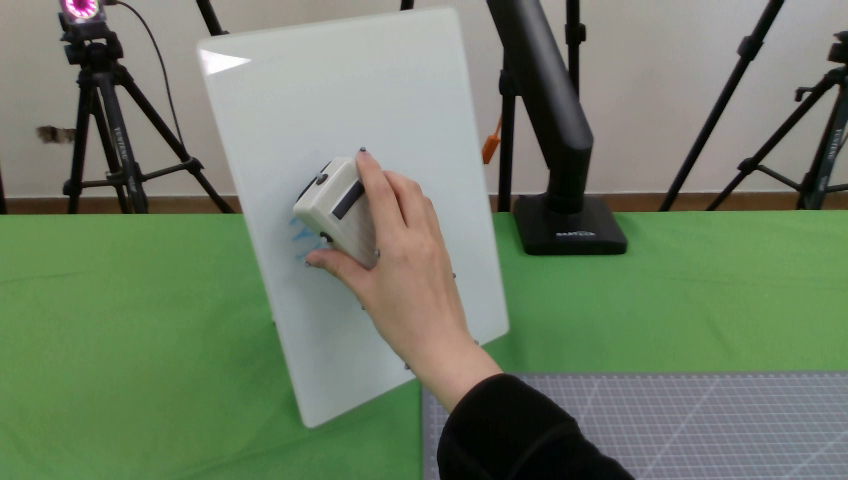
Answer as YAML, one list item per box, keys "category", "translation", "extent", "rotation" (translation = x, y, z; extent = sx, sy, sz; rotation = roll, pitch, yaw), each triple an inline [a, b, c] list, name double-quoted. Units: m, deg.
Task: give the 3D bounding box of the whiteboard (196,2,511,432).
- category: "whiteboard"
  translation: [-0.067, -0.032, 0.548]
  extent: [0.218, 0.307, 0.142]
  rotation: [-20, 19, -27]

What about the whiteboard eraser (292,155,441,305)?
- category: "whiteboard eraser"
  translation: [-0.041, -0.005, 0.445]
  extent: [0.041, 0.114, 0.055]
  rotation: [-2, 49, 52]
